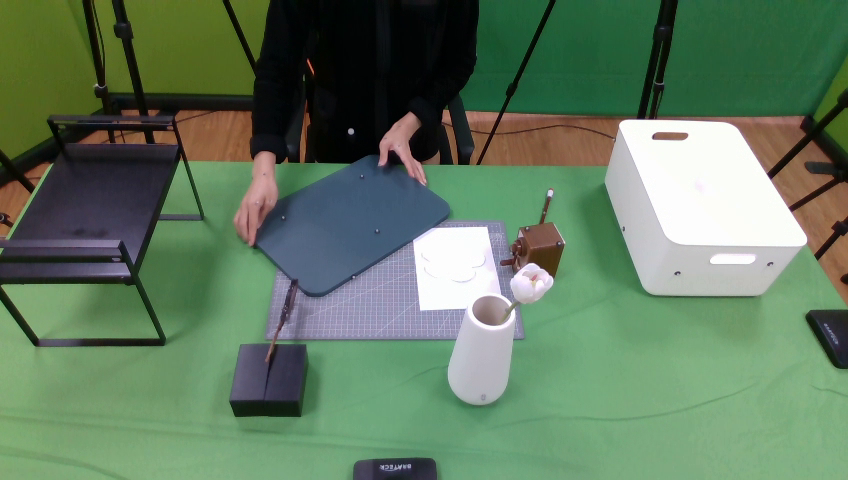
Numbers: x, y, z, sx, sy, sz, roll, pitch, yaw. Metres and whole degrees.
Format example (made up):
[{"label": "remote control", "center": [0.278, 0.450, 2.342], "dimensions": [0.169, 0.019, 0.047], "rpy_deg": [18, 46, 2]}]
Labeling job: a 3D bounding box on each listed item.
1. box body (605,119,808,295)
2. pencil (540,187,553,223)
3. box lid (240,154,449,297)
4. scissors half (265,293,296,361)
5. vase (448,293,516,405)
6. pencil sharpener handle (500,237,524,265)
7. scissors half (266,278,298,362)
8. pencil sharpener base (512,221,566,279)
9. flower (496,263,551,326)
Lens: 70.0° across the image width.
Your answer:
[{"label": "box body", "center": [0.529, -0.068, 1.205], "dimensions": [0.254, 0.161, 0.361], "rpy_deg": [1, 46, -4]}, {"label": "pencil", "center": [0.251, -0.048, 1.272], "dimensions": [0.012, 0.012, 0.193], "rpy_deg": [16, 48, 10]}, {"label": "box lid", "center": [-0.157, -0.046, 1.234], "dimensions": [0.371, 0.015, 0.262], "rpy_deg": [-33, 56, -31]}, {"label": "scissors half", "center": [-0.239, 0.143, 1.005], "dimensions": [0.013, 0.040, 0.174], "rpy_deg": [17, 28, -6]}, {"label": "vase", "center": [0.091, 0.169, 0.921], "dimensions": [0.098, 0.201, 0.097], "rpy_deg": [3, 47, -3]}, {"label": "pencil sharpener handle", "center": [0.159, 0.024, 1.111], "dimensions": [0.031, 0.068, 0.035], "rpy_deg": [-9, 54, -12]}, {"label": "scissors half", "center": [-0.234, 0.127, 0.993], "dimensions": [0.013, 0.040, 0.174], "rpy_deg": [12, 46, -3]}, {"label": "pencil sharpener base", "center": [0.208, 0.025, 1.130], "dimensions": [0.077, 0.107, 0.061], "rpy_deg": [-9, 48, -12]}, {"label": "flower", "center": [0.102, 0.120, 0.853], "dimensions": [0.044, 0.363, 0.038], "rpy_deg": [-2, 64, -10]}]
